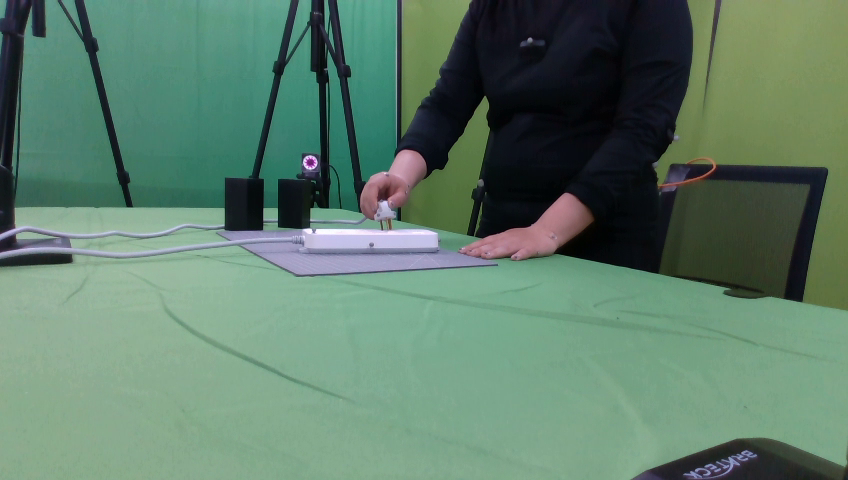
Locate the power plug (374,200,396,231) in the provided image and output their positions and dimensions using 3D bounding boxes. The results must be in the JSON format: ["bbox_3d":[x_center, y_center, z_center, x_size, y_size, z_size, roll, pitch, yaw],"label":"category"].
[{"bbox_3d":[-0.062,-0.037,0.981,0.035,0.052,0.072,-8,-7,0],"label":"power plug"}]

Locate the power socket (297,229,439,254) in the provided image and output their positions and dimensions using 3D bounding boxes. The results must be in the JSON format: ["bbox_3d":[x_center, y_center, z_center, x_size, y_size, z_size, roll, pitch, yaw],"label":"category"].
[{"bbox_3d":[-0.084,0.001,0.941,0.228,0.032,0.072,0,7,-20],"label":"power socket"}]
